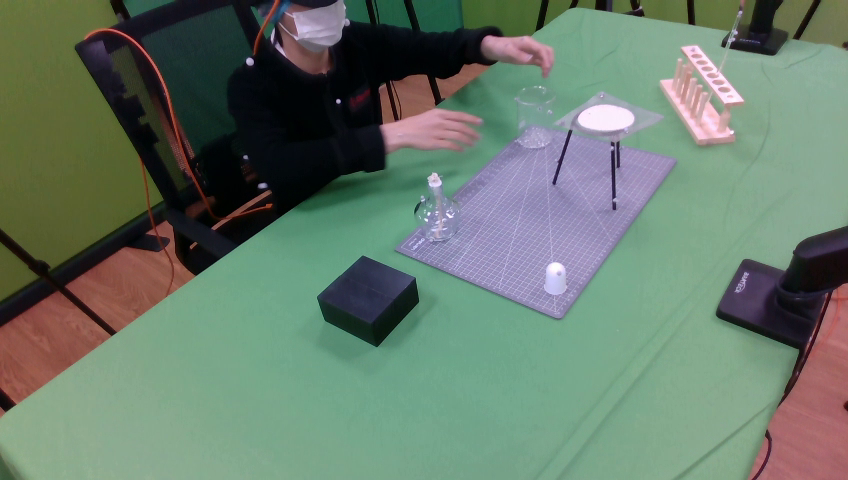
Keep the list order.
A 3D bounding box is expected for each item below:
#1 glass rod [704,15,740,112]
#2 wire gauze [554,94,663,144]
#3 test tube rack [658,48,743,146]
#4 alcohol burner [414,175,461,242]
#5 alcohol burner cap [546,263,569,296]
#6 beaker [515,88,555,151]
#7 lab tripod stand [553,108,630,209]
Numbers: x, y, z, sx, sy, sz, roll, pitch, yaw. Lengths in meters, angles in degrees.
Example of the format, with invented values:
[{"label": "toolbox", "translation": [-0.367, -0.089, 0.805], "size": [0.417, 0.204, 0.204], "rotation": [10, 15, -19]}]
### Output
[{"label": "glass rod", "translation": [0.549, -0.319, 1.117], "size": [0.008, 0.200, 0.008], "rotation": [-2, 47, 3]}, {"label": "wire gauze", "translation": [0.293, -0.193, 0.963], "size": [0.125, 0.011, 0.120], "rotation": [-31, 45, -27]}, {"label": "test tube rack", "translation": [0.532, -0.284, 1.180], "size": [0.067, 0.085, 0.241], "rotation": [-5, 40, 4]}, {"label": "alcohol burner", "translation": [0.021, -0.055, 0.963], "size": [0.078, 0.119, 0.077], "rotation": [-4, 41, 4]}, {"label": "alcohol burner cap", "translation": [0.191, 0.053, 0.862], "size": [0.034, 0.048, 0.033], "rotation": [-5, 40, 4]}, {"label": "beaker", "translation": [0.213, -0.230, 1.153], "size": [0.073, 0.101, 0.084], "rotation": [20, 47, 29]}, {"label": "lab tripod stand", "translation": [0.292, -0.144, 1.010], "size": [0.148, 0.132, 0.147], "rotation": [-5, 38, 4]}]
